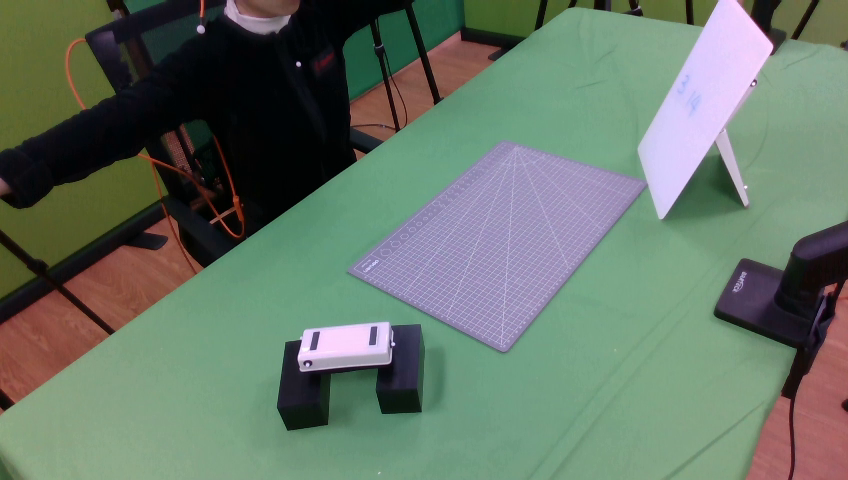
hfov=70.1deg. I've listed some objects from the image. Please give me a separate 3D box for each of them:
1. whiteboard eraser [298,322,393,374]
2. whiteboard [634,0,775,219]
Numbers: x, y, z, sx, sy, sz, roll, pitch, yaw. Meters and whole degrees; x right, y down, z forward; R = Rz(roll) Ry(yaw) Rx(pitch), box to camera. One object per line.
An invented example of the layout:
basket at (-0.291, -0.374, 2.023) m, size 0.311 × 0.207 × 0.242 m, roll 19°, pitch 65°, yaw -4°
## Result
whiteboard eraser at (-0.094, 0.134, 0.740) m, size 0.113 × 0.042 × 0.055 m, roll -5°, pitch 41°, yaw 3°
whiteboard at (0.485, -0.193, 0.957) m, size 0.144 × 0.305 × 0.216 m, roll 14°, pitch 41°, yaw -4°
